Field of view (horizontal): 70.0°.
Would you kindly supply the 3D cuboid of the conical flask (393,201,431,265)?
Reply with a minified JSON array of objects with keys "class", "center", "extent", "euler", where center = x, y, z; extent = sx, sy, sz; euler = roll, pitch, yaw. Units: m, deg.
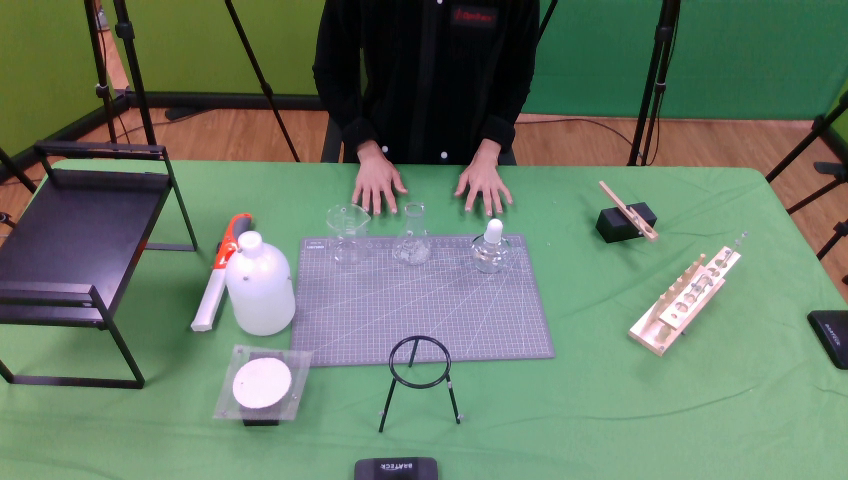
[{"class":"conical flask","center":[-0.021,-0.017,1.137],"extent":[0.075,0.122,0.075],"euler":[2,46,-2]}]

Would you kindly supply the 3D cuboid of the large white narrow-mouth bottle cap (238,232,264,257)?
[{"class":"large white narrow-mouth bottle cap","center":[-0.266,0.006,0.933],"extent":[0.038,0.024,0.037],"euler":[2,46,-2]}]

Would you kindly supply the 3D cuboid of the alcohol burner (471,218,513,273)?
[{"class":"alcohol burner","center":[0.128,0.005,1.132],"extent":[0.078,0.120,0.077],"euler":[0,47,0]}]

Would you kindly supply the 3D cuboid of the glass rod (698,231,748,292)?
[{"class":"glass rod","center":[0.513,0.044,1.051],"extent":[0.008,0.200,0.008],"euler":[1,55,-1]}]

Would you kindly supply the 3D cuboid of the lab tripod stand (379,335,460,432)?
[{"class":"lab tripod stand","center":[-0.011,0.214,0.911],"extent":[0.148,0.132,0.147],"euler":[1,45,0]}]

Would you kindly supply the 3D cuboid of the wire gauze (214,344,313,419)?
[{"class":"wire gauze","center":[-0.241,0.213,0.915],"extent":[0.121,0.011,0.124],"euler":[5,46,1]}]

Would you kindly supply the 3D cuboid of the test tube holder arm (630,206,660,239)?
[{"class":"test tube holder arm","center":[0.431,-0.035,1.192],"extent":[0.010,0.015,0.087],"euler":[-23,51,-12]}]

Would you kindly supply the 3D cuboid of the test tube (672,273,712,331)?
[{"class":"test tube","center":[0.439,0.106,1.009],"extent":[0.017,0.151,0.017],"euler":[4,48,-4]}]

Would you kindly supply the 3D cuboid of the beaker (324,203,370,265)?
[{"class":"beaker","center":[-0.142,-0.009,1.137],"extent":[0.084,0.101,0.073],"euler":[-3,47,-7]}]

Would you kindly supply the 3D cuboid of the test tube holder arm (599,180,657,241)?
[{"class":"test tube holder arm","center":[0.407,-0.062,1.219],"extent":[0.013,0.015,0.177],"euler":[-23,51,-12]}]

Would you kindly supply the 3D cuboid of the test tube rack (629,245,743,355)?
[{"class":"test tube rack","center":[0.474,0.095,1.091],"extent":[0.242,0.085,0.066],"euler":[-34,57,-31]}]

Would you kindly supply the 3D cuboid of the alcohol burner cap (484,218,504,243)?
[{"class":"alcohol burner cap","center":[0.130,-0.021,1.106],"extent":[0.034,0.048,0.033],"euler":[3,51,-4]}]

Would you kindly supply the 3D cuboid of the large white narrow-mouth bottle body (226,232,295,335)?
[{"class":"large white narrow-mouth bottle body","center":[-0.270,0.065,0.995],"extent":[0.102,0.195,0.101],"euler":[2,46,-2]}]

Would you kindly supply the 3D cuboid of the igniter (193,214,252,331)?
[{"class":"igniter","center":[-0.368,0.050,1.119],"extent":[0.057,0.025,0.275],"euler":[-3,46,8]}]
